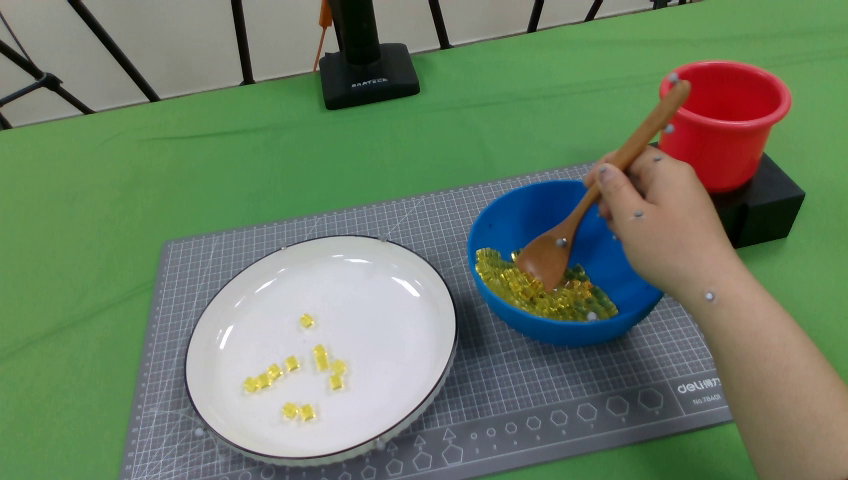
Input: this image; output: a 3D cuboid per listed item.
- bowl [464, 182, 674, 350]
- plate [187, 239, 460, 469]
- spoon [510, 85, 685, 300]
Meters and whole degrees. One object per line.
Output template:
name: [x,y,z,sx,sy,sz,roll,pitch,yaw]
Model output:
bowl: [0.108,0.032,0.471,0.151,0.077,0.150,-4,45,4]
plate: [-0.074,0.083,0.474,0.207,0.039,0.205,-4,45,4]
spoon: [0.119,-0.027,0.434,0.022,0.194,0.041,-6,49,-39]
